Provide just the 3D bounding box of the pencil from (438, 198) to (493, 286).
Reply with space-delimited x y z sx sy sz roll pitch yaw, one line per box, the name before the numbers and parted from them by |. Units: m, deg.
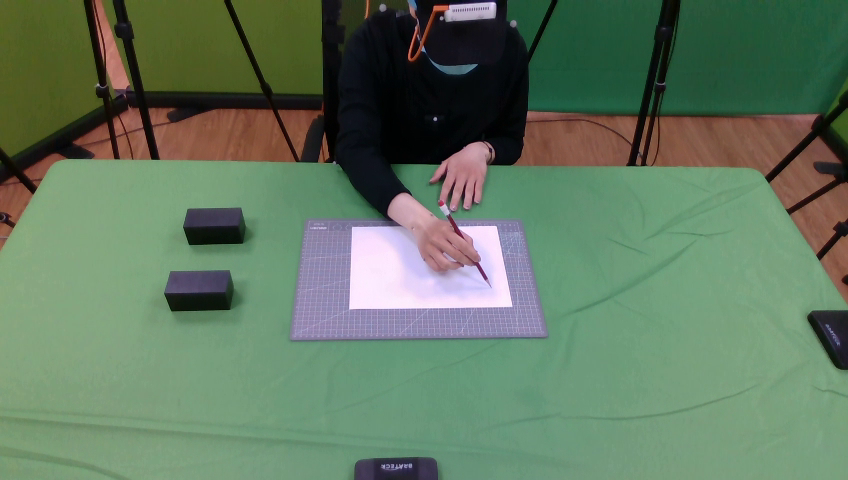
pencil | 0.078 0.006 1.098 0.012 0.194 0.012 -29 17 10
